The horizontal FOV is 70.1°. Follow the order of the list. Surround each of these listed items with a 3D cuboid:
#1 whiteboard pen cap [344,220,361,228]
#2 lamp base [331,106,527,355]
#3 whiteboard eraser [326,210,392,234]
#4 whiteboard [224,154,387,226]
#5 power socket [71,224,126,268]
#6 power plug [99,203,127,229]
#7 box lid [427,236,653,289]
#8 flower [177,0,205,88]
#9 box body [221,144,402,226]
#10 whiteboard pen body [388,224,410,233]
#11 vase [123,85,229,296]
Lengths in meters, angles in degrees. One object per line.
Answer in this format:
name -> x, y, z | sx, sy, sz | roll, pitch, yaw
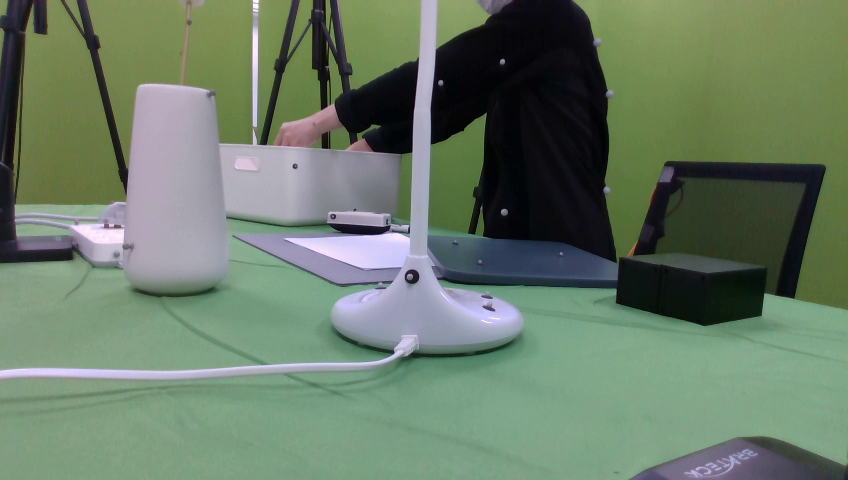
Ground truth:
whiteboard pen cap -> -0.144, -0.032, 1.230 | 0.033, 0.018, 0.018 | 6, 8, 17
lamp base -> 0.006, -0.012, 0.478 | 0.161, 0.180, 0.179 | 2, 10, 2
whiteboard eraser -> -0.121, -0.034, 1.131 | 0.112, 0.042, 0.056 | 4, 8, 13
whiteboard -> -0.262, -0.120, 1.374 | 0.216, 0.143, 0.307 | 6, 8, 37
power socket -> -0.409, 0.004, 0.793 | 0.072, 0.032, 0.225 | -2, 8, -37
power plug -> -0.415, -0.026, 0.848 | 0.073, 0.052, 0.035 | 6, 5, -28
box lid -> 0.139, 0.028, 0.886 | 0.264, 0.015, 0.371 | 2, 7, -6
flower -> -0.243, -0.131, 0.609 | 0.044, 0.361, 0.038 | -5, -12, 12
box body -> -0.254, -0.129, 1.379 | 0.253, 0.160, 0.366 | 8, 9, 36
whiteboard pen body -> -0.088, -0.026, 1.214 | 0.140, 0.017, 0.017 | 5, 8, 18
vase -> -0.244, -0.047, 0.598 | 0.098, 0.200, 0.098 | 3, 8, 0
